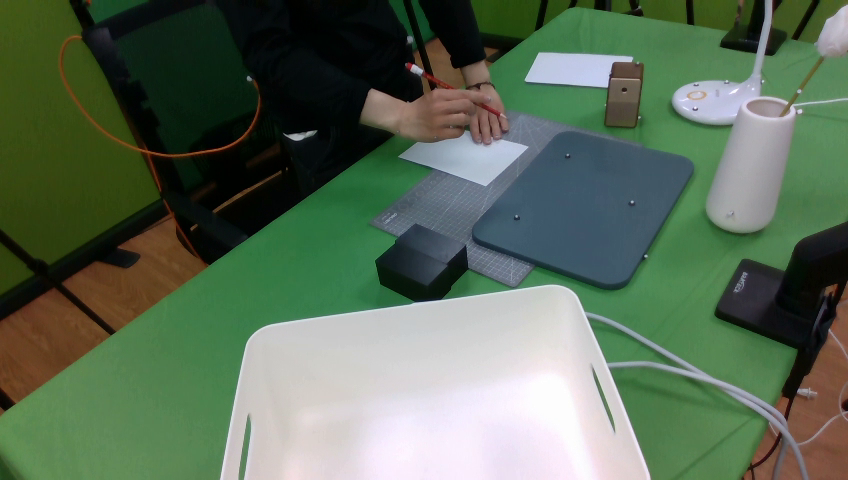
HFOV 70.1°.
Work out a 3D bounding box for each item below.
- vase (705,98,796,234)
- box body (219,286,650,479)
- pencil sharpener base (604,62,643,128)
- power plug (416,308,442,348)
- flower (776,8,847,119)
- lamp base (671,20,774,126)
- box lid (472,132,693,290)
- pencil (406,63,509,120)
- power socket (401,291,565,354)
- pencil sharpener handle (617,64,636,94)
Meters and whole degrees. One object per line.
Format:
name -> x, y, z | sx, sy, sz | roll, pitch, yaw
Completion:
vase -> 0.480, -0.104, 0.889 | 0.098, 0.201, 0.097 | -4, 42, 4
box body -> 0.006, 0.210, 0.618 | 0.364, 0.161, 0.252 | -8, 40, -1
pencil sharpener base -> 0.390, -0.284, 1.182 | 0.061, 0.107, 0.076 | 7, 42, 17
power plug -> 0.004, 0.121, 0.787 | 0.035, 0.053, 0.072 | 2, 46, 8
flower -> 0.476, -0.156, 0.823 | 0.038, 0.362, 0.044 | 7, 58, 2
lamp base -> 0.581, -0.332, 1.154 | 0.179, 0.181, 0.160 | 2, 41, 7
box lid -> 0.273, -0.068, 1.020 | 0.261, 0.015, 0.372 | 20, 47, 28
pencil -> 0.056, -0.246, 1.009 | 0.194, 0.012, 0.012 | 27, 44, -5
power socket -> 0.079, 0.111, 0.823 | 0.227, 0.033, 0.072 | -5, 41, 1
pencil sharpener handle -> 0.401, -0.327, 1.211 | 0.036, 0.068, 0.030 | 16, 44, 8
